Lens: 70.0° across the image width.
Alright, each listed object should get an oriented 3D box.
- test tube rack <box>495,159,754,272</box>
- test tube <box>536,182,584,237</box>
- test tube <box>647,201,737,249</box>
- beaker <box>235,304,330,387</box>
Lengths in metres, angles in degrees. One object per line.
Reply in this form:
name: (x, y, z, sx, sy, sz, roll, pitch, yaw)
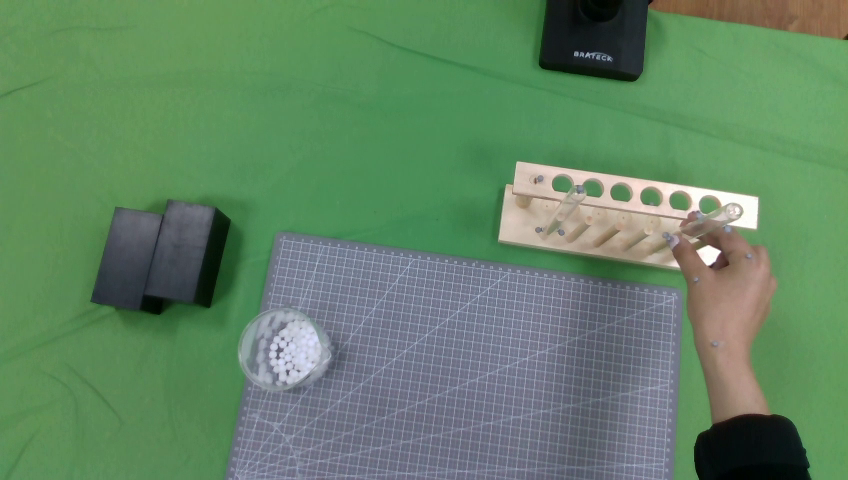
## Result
test tube rack: (0.204, -0.023, 0.638, 0.242, 0.085, 0.066, 9, 77, 1)
test tube: (0.131, -0.027, 0.592, 0.017, 0.151, 0.017, 0, 77, 0)
test tube: (0.248, -0.012, 0.570, 0.017, 0.151, 0.017, 1, 79, -3)
beaker: (-0.130, 0.106, 0.592, 0.084, 0.100, 0.073, 8, 78, 0)
